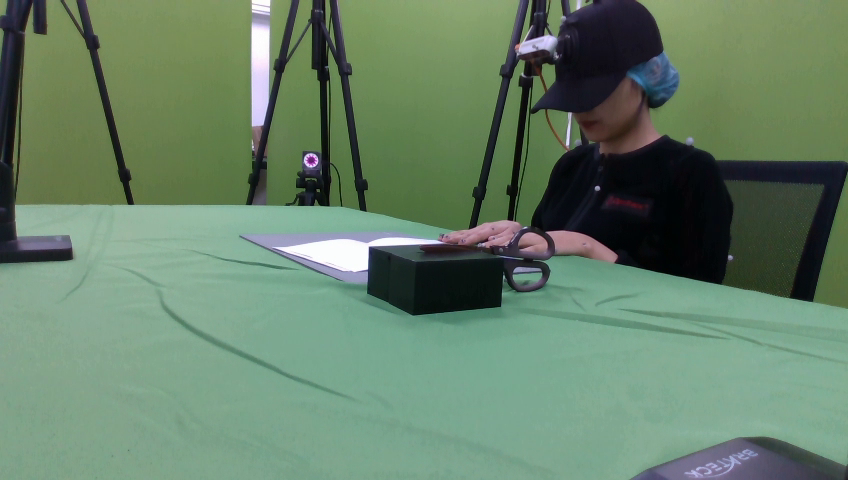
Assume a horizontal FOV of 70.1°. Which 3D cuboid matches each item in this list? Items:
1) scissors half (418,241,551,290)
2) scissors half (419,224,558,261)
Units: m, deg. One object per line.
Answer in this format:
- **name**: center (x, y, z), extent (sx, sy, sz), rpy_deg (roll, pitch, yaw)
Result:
- **scissors half**: center (0.067, 0.024, 0.645), extent (0.176, 0.040, 0.012), rpy_deg (17, 7, -31)
- **scissors half**: center (0.072, 0.004, 0.642), extent (0.176, 0.040, 0.013), rpy_deg (-3, 12, -29)
